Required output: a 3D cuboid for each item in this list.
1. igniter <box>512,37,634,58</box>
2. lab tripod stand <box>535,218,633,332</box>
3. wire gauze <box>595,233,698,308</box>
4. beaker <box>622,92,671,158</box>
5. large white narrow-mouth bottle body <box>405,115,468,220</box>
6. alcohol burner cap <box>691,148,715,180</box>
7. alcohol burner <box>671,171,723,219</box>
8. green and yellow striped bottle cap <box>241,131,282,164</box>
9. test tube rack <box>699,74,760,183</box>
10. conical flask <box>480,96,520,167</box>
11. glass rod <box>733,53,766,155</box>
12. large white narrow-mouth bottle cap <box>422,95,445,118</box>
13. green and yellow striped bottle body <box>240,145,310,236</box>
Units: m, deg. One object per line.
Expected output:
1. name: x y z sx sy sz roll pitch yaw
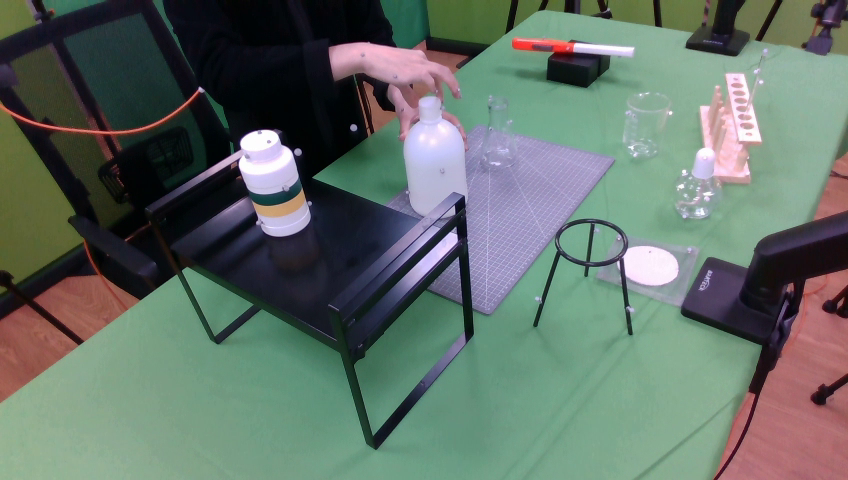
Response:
1. igniter: 0.328 -0.433 1.360 0.275 0.025 0.057 12 33 20
2. lab tripod stand: 0.215 0.050 0.803 0.148 0.132 0.147 -4 42 4
3. wire gauze: 0.331 0.038 0.897 0.124 0.011 0.121 18 47 26
4. beaker: 0.402 -0.210 1.106 0.074 0.101 0.083 -9 40 -2
5. large white narrow-mouth bottle body: 0.019 -0.136 0.998 0.102 0.195 0.101 -3 39 3
6. alcohol burner cap: 0.432 -0.120 0.930 0.034 0.048 0.033 -7 48 8
7. alcohol burner: 0.434 -0.093 0.955 0.078 0.119 0.077 -3 43 4
8. green and yellow striped bottle cap: -0.187 -0.107 0.695 0.045 0.020 0.045 -3 39 3
9. test tube rack: 0.547 -0.208 1.095 0.066 0.085 0.242 6 42 16
10. conical flask: 0.138 -0.201 1.111 0.075 0.122 0.075 -4 40 4
11. glass rod: 0.540 -0.220 1.007 0.008 0.201 0.008 -5 46 6
12. large white narrow-mouth bottle cap: 0.014 -0.207 0.939 0.038 0.024 0.037 -3 39 3
13. green and yellow striped bottle body: -0.181 -0.068 0.729 0.063 0.120 0.063 -4 40 4
